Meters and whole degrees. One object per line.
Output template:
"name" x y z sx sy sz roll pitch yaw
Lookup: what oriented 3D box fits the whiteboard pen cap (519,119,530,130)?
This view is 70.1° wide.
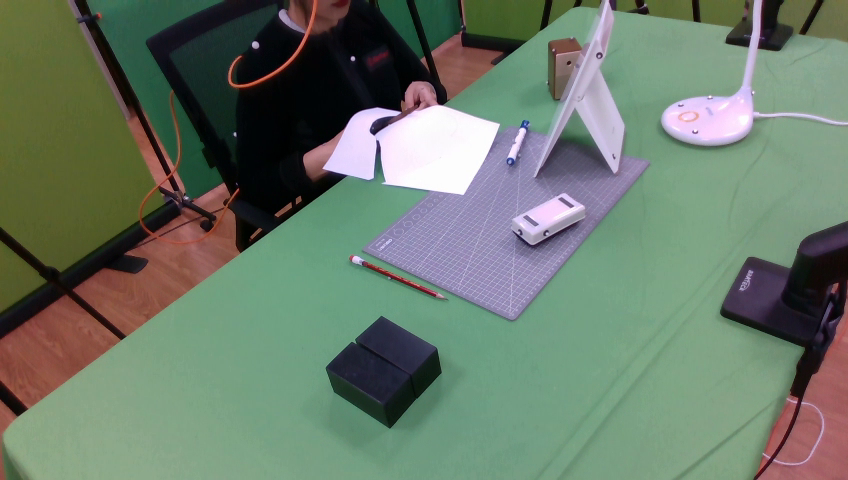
"whiteboard pen cap" 0.199 -0.226 1.204 0.018 0.018 0.033 7 41 18

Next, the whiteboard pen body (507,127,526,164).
"whiteboard pen body" 0.181 -0.189 1.162 0.017 0.017 0.140 7 42 19

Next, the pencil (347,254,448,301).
"pencil" -0.044 0.058 0.933 0.192 0.012 0.012 22 49 28

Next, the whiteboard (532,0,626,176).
"whiteboard" 0.320 -0.258 1.050 0.144 0.306 0.217 21 45 5

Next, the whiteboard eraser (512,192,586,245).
"whiteboard eraser" 0.199 -0.032 0.962 0.113 0.042 0.055 -27 43 -20

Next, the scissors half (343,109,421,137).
"scissors half" -0.088 -0.247 1.244 0.174 0.040 0.013 -9 32 17

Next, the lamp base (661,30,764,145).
"lamp base" 0.535 -0.287 1.096 0.179 0.181 0.159 -10 40 -4

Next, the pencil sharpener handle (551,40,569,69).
"pencil sharpener handle" 0.291 -0.409 1.320 0.036 0.068 0.030 2 40 -6

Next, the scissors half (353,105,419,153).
"scissors half" -0.078 -0.230 1.253 0.174 0.040 0.013 -33 19 27

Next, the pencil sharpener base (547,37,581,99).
"pencil sharpener base" 0.299 -0.368 1.290 0.061 0.107 0.076 -8 40 2
